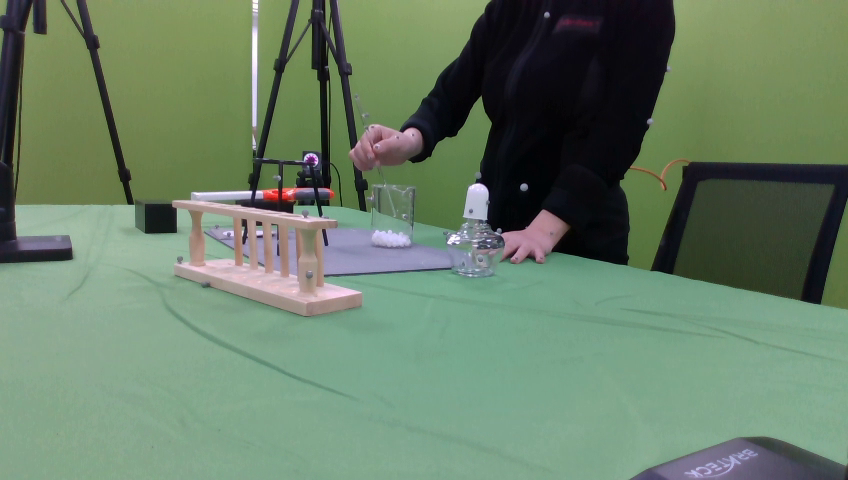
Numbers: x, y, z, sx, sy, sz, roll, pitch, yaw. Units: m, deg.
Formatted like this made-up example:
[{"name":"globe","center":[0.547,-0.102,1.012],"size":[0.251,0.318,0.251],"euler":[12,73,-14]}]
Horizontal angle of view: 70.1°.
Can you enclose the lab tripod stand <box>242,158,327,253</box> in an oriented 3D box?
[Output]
[{"name":"lab tripod stand","center":[-0.207,-0.054,0.895],"size":[0.148,0.131,0.148],"euler":[3,5,0]}]

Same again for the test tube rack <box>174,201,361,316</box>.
[{"name":"test tube rack","center":[-0.169,0.010,0.622],"size":[0.241,0.085,0.067],"euler":[9,9,41]}]

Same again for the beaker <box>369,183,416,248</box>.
[{"name":"beaker","center":[-0.050,-0.039,0.971],"size":[0.074,0.100,0.083],"euler":[-1,9,-25]}]

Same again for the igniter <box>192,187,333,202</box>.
[{"name":"igniter","center":[-0.316,-0.090,1.213],"size":[0.278,0.025,0.057],"euler":[-5,13,-31]}]

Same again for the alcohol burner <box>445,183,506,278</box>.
[{"name":"alcohol burner","center":[0.066,-0.013,0.771],"size":[0.078,0.119,0.078],"euler":[0,7,0]}]

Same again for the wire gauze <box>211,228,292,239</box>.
[{"name":"wire gauze","center":[-0.298,-0.013,1.039],"size":[0.122,0.011,0.124],"euler":[-2,6,-27]}]

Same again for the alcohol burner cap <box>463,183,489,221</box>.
[{"name":"alcohol burner cap","center":[0.067,-0.048,0.765],"size":[0.034,0.048,0.034],"euler":[5,5,0]}]

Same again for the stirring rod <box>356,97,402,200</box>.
[{"name":"stirring rod","center":[-0.072,-0.146,0.974],"size":[0.006,0.176,0.014],"euler":[-24,9,-9]}]
